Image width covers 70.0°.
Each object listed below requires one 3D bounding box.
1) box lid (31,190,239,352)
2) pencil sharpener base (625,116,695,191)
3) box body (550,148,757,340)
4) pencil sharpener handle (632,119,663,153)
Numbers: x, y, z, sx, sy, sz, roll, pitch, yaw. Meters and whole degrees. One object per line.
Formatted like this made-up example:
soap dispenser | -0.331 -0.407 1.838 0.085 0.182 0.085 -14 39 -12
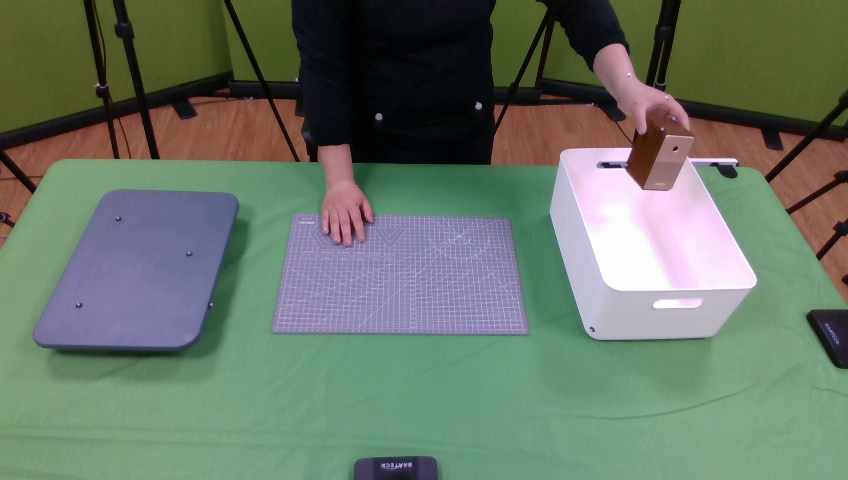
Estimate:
box lid | -0.491 0.040 1.070 0.263 0.015 0.369 1 46 -3
pencil sharpener base | 0.396 -0.147 1.029 0.061 0.107 0.076 1 36 -15
box body | 0.395 0.003 1.127 0.254 0.161 0.361 -1 46 -5
pencil sharpener handle | 0.386 -0.187 1.061 0.036 0.068 0.030 5 34 -18
